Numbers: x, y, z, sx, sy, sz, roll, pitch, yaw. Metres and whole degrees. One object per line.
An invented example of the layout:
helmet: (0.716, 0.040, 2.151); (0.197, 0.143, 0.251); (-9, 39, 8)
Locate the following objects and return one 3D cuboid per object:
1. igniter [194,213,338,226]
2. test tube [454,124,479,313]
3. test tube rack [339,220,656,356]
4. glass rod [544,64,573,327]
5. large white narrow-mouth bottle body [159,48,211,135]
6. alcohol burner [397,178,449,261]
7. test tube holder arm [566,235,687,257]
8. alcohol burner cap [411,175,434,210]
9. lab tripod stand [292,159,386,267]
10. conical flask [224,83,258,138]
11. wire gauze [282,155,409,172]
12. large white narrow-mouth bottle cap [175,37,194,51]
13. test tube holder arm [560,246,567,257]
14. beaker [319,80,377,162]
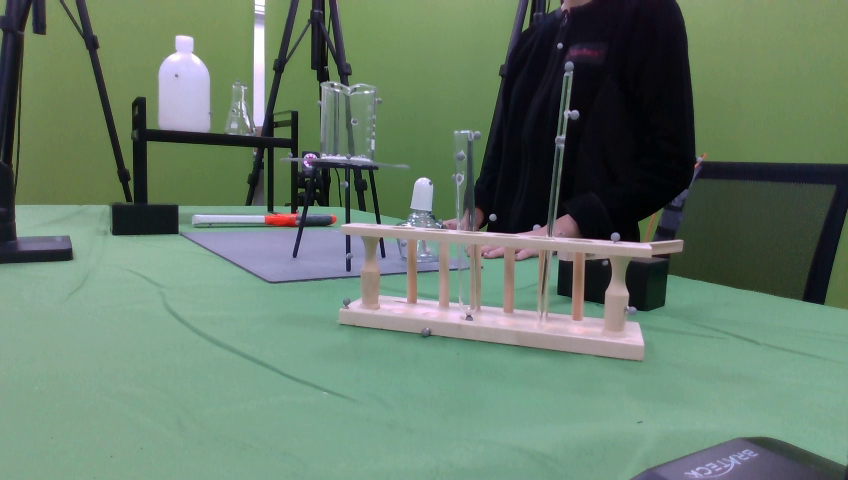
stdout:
igniter: (-0.306, -0.041, 1.197); (0.278, 0.025, 0.057); (-2, -2, -30)
test tube: (0.034, -0.015, 0.477); (0.017, 0.150, 0.017); (-2, 9, 1)
test tube rack: (0.056, 0.032, 0.495); (0.242, 0.085, 0.067); (4, 7, 15)
glass rod: (0.101, -0.028, 0.453); (0.008, 0.199, 0.008); (2, 13, 0)
large white narrow-mouth bottle body: (-0.503, -0.323, 1.275); (0.102, 0.194, 0.102); (2, 7, 0)
alcohol burner: (-0.002, -0.031, 0.846); (0.078, 0.119, 0.078); (0, 6, 0)
test tube holder arm: (0.215, 0.006, 0.630); (0.179, 0.015, 0.013); (-3, 9, -31)
alcohol burner cap: (0.000, -0.067, 0.842); (0.034, 0.048, 0.034); (8, 8, -1)
lab tripod stand: (-0.105, -0.039, 0.797); (0.148, 0.131, 0.148); (2, 5, 0)
conical flask: (-0.422, -0.299, 1.395); (0.075, 0.122, 0.075); (2, 7, 0)
wire gauze: (-0.104, -0.103, 0.785); (0.126, 0.011, 0.121); (1, 8, -39)
large white narrow-mouth bottle cap: (-0.501, -0.409, 1.264); (0.038, 0.024, 0.037); (2, 7, 0)
test tube holder arm: (0.173, 0.007, 0.611); (0.088, 0.015, 0.010); (-3, 9, -30)
beaker: (-0.098, -0.150, 0.777); (0.074, 0.100, 0.084); (1, 7, -8)
